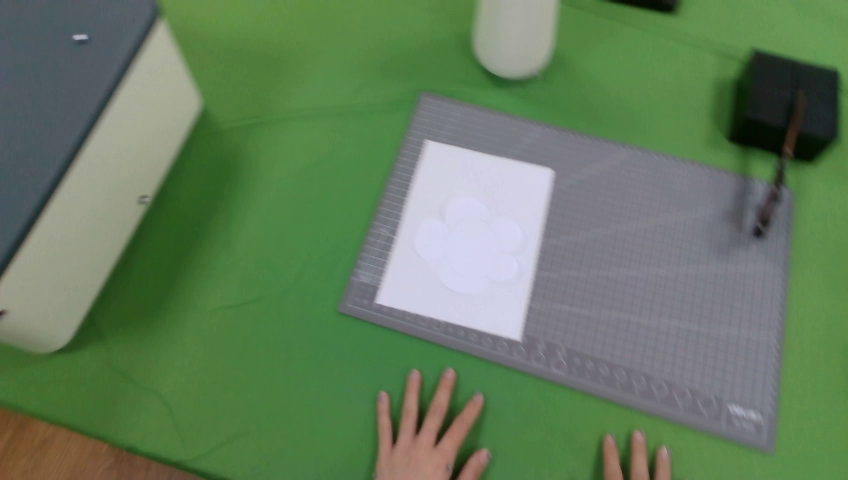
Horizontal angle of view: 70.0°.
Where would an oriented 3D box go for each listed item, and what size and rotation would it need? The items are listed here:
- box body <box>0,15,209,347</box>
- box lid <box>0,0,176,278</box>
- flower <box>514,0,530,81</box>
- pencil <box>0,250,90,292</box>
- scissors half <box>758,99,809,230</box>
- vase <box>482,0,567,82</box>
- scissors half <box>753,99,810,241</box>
[{"bbox_3d":[-0.422,-0.096,0.627,0.253,0.161,0.362,17,67,8],"label":"box body"},{"bbox_3d":[-0.422,-0.129,0.560,0.263,0.015,0.369,17,68,7],"label":"box lid"},{"bbox_3d":[0.116,-0.323,0.622,0.044,0.365,0.038,10,48,9],"label":"flower"},{"bbox_3d":[-0.444,0.020,0.651,0.194,0.012,0.012,21,67,6],"label":"pencil"},{"bbox_3d":[0.392,-0.086,0.652,0.013,0.040,0.174,22,68,19],"label":"scissors half"},{"bbox_3d":[0.119,-0.275,0.691,0.098,0.201,0.097,0,64,1],"label":"vase"},{"bbox_3d":[0.398,-0.079,0.671,0.012,0.040,0.175,21,85,24],"label":"scissors half"}]
